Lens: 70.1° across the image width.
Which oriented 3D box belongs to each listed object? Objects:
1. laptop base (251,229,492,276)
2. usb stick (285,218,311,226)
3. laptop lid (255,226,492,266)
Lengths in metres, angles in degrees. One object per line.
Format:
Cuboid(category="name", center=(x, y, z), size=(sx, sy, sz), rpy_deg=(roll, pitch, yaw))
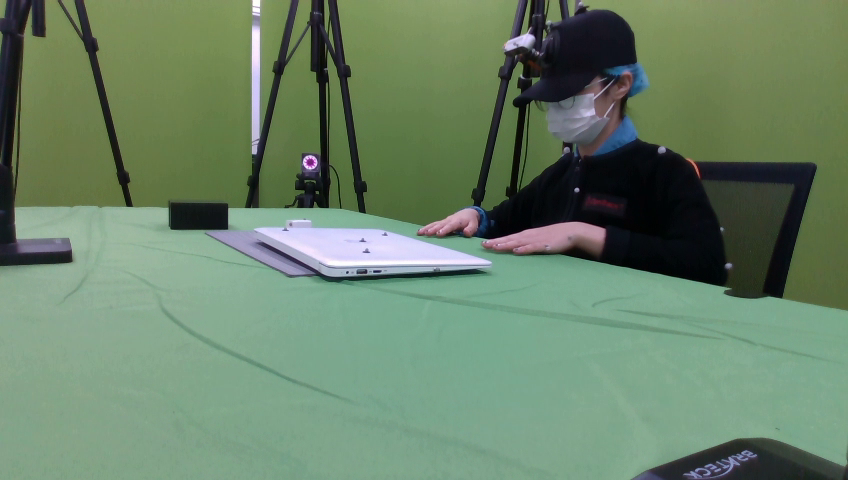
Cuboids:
Cuboid(category="laptop base", center=(-0.094, 0.015, 0.889), size=(0.237, 0.023, 0.352), rpy_deg=(2, 7, -30))
Cuboid(category="usb stick", center=(-0.235, -0.025, 1.102), size=(0.021, 0.027, 0.059), rpy_deg=(9, 13, 37))
Cuboid(category="laptop lid", center=(-0.092, 0.003, 0.888), size=(0.243, 0.013, 0.355), rpy_deg=(1, 8, -28))
